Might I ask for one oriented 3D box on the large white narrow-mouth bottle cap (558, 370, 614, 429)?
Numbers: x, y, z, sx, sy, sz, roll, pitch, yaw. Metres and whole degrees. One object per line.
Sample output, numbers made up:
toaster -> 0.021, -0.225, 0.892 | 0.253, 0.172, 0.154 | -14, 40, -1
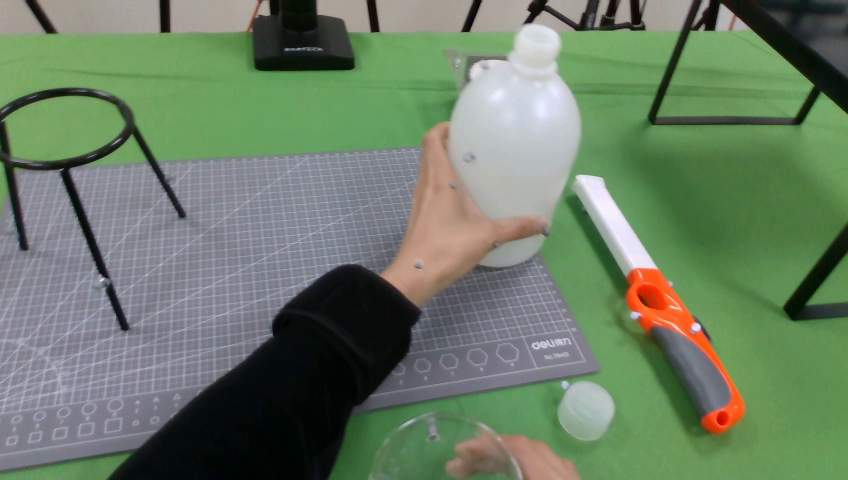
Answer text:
large white narrow-mouth bottle cap -> 0.116, 0.114, 0.433 | 0.038, 0.024, 0.037 | 4, 45, -4

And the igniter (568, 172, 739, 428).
igniter -> 0.187, 0.035, 0.519 | 0.057, 0.025, 0.273 | 4, 44, -20

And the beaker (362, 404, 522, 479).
beaker -> 0.002, 0.148, 0.324 | 0.084, 0.101, 0.073 | -15, 49, -21

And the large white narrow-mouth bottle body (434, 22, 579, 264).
large white narrow-mouth bottle body -> 0.068, -0.076, 0.483 | 0.102, 0.196, 0.101 | 5, 47, -5

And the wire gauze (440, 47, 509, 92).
wire gauze -> 0.088, -0.179, 0.663 | 0.122, 0.011, 0.123 | -4, 46, -15

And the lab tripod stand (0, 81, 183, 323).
lab tripod stand -> -0.243, -0.032, 0.439 | 0.148, 0.132, 0.147 | 6, 45, -6
